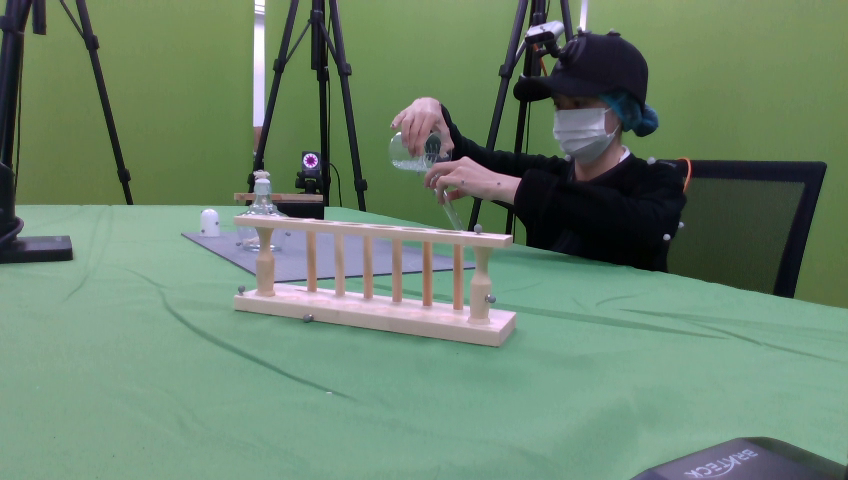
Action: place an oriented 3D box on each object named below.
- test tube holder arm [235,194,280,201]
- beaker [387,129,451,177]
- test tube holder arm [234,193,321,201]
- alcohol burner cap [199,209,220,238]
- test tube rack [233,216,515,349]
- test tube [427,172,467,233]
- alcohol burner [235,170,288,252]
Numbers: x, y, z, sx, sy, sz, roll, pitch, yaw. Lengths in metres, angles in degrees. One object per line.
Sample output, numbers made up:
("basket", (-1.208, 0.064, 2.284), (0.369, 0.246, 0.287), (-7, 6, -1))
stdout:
("test tube holder arm", (-0.336, -0.086, 1.221), (0.088, 0.015, 0.010), (-1, 16, -29))
("beaker", (-0.012, -0.158, 1.093), (0.074, 0.084, 0.100), (12, 0, -44))
("test tube holder arm", (-0.299, -0.088, 1.248), (0.179, 0.015, 0.013), (-1, 16, -30))
("alcohol burner cap", (-0.356, -0.027, 1.002), (0.034, 0.048, 0.034), (2, 7, 0))
("test tube rack", (-0.045, 0.029, 0.526), (0.241, 0.085, 0.067), (5, 8, 19))
("test tube", (0.038, -0.059, 1.020), (0.017, 0.017, 0.149), (-2, 50, -31))
("alcohol burner", (-0.236, -0.042, 0.882), (0.078, 0.119, 0.078), (2, 9, 0))
